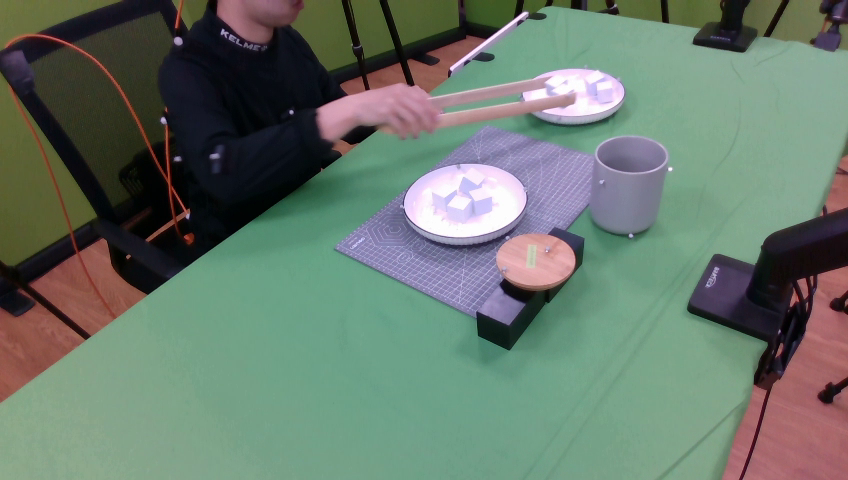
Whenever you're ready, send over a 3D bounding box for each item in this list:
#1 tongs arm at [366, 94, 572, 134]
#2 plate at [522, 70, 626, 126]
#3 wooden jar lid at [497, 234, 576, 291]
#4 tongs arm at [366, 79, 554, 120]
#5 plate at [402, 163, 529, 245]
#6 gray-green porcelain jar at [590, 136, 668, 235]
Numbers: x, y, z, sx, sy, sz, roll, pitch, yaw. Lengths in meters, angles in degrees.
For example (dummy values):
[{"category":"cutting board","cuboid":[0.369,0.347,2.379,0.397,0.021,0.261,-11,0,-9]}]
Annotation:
[{"category":"tongs arm","cuboid":[0.087,-0.233,1.087,0.387,0.026,0.050,-13,44,-18]},{"category":"plate","cuboid":[0.308,-0.290,1.251,0.207,0.039,0.206,-4,40,4]},{"category":"wooden jar lid","cuboid":[0.155,0.032,0.834,0.108,0.021,0.108,-5,40,5]},{"category":"tongs arm","cuboid":[0.074,-0.257,1.115,0.389,0.028,0.028,-14,47,-18]},{"category":"plate","cuboid":[0.069,-0.056,1.008,0.209,0.038,0.208,-4,40,4]},{"category":"gray-green porcelain jar","cuboid":[0.314,-0.080,0.937,0.106,0.127,0.105,-4,41,4]}]
